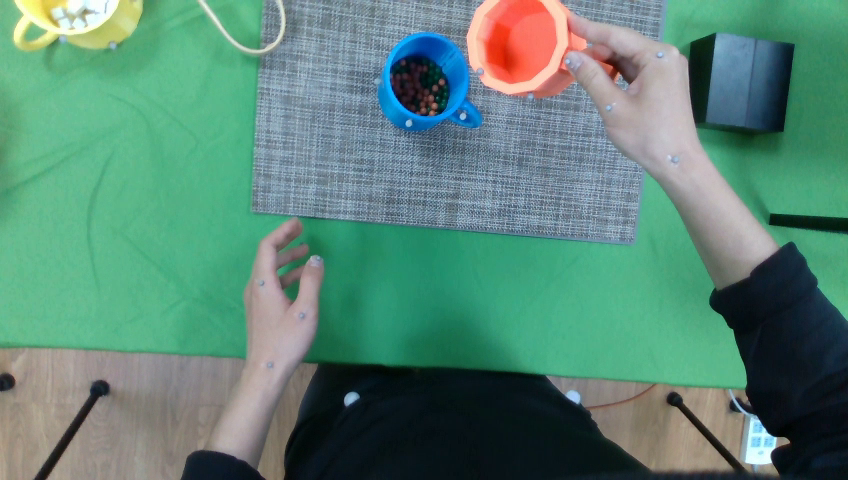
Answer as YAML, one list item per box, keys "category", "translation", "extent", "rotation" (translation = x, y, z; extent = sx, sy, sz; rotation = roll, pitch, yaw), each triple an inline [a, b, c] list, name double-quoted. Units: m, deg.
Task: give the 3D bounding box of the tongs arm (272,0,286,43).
- category: "tongs arm"
  translation: [-0.204, -0.390, 0.586]
  extent: [0.028, 0.027, 0.389]
  rotation: [-22, 106, -14]

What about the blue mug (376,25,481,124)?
- category: "blue mug"
  translation: [0.008, -0.157, 0.626]
  extent: [0.117, 0.105, 0.082]
  rotation: [30, 91, -11]

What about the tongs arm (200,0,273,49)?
- category: "tongs arm"
  translation: [-0.277, -0.350, 0.576]
  extent: [0.051, 0.026, 0.387]
  rotation: [-35, 108, -7]

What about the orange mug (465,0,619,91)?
- category: "orange mug"
  translation: [0.108, -0.171, 0.534]
  extent: [0.125, 0.101, 0.084]
  rotation: [28, 111, 21]

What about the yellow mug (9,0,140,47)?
- category: "yellow mug"
  translation: [-0.348, -0.236, 0.584]
  extent: [0.100, 0.063, 0.131]
  rotation: [44, 90, -11]
